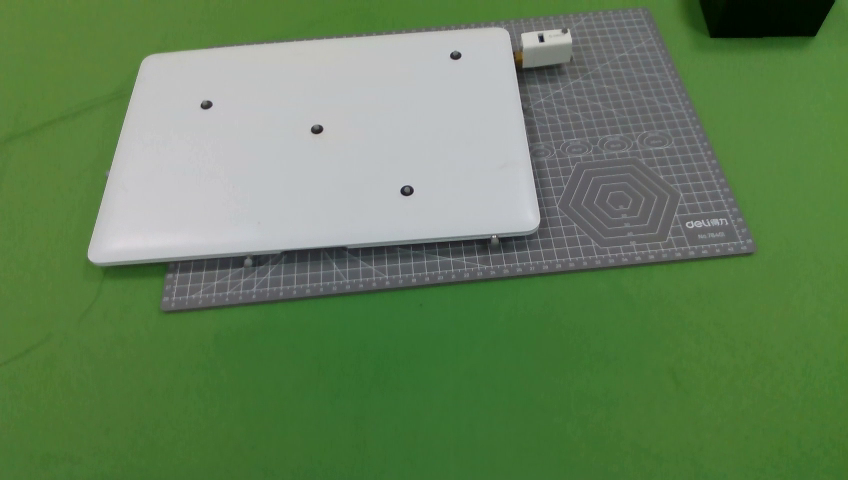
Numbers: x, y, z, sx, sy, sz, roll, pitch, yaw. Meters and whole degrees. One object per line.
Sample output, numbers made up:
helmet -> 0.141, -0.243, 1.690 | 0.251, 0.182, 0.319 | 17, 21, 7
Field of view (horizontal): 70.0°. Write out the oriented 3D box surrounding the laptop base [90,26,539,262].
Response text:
laptop base -> -0.091, -0.091, 0.530 | 0.354, 0.023, 0.233 | -4, 60, 1

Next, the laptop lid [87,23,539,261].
laptop lid -> -0.091, -0.095, 0.519 | 0.357, 0.013, 0.239 | -3, 59, 2

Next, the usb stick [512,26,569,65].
usb stick -> 0.103, -0.179, 0.559 | 0.059, 0.027, 0.021 | -7, 58, 6
